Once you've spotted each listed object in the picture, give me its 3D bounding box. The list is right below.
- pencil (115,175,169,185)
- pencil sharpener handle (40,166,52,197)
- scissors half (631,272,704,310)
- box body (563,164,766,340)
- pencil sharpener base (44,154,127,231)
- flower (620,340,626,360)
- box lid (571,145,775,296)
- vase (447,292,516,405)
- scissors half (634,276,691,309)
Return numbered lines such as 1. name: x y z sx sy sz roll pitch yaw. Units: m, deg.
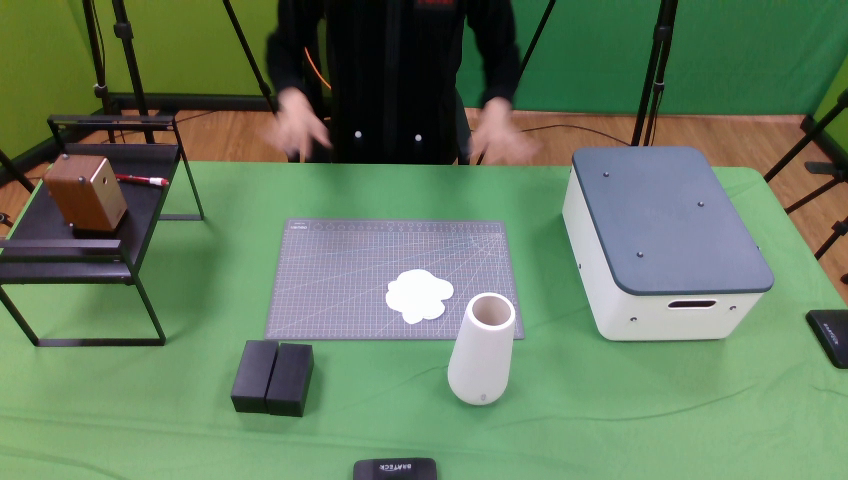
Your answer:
1. pencil: -0.523 -0.106 1.020 0.194 0.012 0.012 6 46 5
2. pencil sharpener handle: -0.562 -0.085 0.911 0.030 0.068 0.036 3 58 0
3. scissors half: 0.460 0.092 1.132 0.175 0.040 0.013 -22 83 -21
4. box body: 0.421 0.003 1.130 0.254 0.161 0.361 0 46 -5
5. pencil sharpener base: -0.512 -0.071 0.918 0.077 0.107 0.061 3 47 0
6. flower: 0.416 0.065 1.186 0.038 0.044 0.360 29 64 -21
7. box lid: 0.424 -0.048 1.074 0.263 0.015 0.369 -1 46 -4
8. vase: 0.091 0.168 0.921 0.098 0.201 0.097 3 47 -3
9. scissors half: 0.454 0.096 1.144 0.175 0.040 0.013 -19 88 -31
